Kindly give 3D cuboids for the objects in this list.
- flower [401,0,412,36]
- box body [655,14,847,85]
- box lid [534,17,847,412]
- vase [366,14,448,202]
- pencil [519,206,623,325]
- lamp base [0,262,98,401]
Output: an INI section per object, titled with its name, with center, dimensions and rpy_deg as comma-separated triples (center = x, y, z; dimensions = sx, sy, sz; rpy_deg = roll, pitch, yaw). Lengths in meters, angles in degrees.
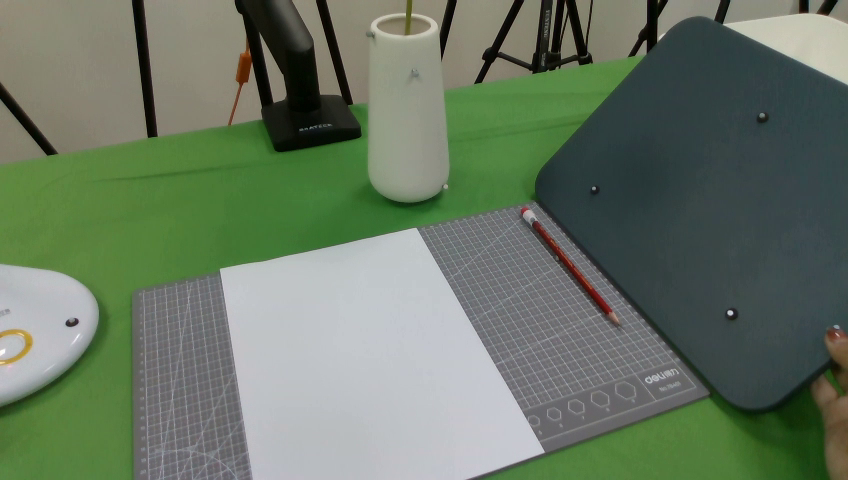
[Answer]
[flower]
center = -0.020, -0.192, 0.610
dimensions = 0.044, 0.364, 0.038
rpy_deg = 24, 57, 7
[box body]
center = 0.439, -0.098, 0.658
dimensions = 0.255, 0.162, 0.359
rpy_deg = -13, 41, -15
[box lid]
center = 0.276, -0.050, 0.574
dimensions = 0.015, 0.263, 0.367
rpy_deg = 29, 20, -40
[vase]
center = -0.022, -0.142, 0.680
dimensions = 0.098, 0.202, 0.097
rpy_deg = -1, 39, 1
[pencil]
center = 0.148, 0.021, 0.626
dimensions = 0.012, 0.012, 0.191
rpy_deg = -14, 42, -17
[lamp base]
center = -0.386, 0.019, 0.493
dimensions = 0.177, 0.182, 0.160
rpy_deg = 25, 45, 30
